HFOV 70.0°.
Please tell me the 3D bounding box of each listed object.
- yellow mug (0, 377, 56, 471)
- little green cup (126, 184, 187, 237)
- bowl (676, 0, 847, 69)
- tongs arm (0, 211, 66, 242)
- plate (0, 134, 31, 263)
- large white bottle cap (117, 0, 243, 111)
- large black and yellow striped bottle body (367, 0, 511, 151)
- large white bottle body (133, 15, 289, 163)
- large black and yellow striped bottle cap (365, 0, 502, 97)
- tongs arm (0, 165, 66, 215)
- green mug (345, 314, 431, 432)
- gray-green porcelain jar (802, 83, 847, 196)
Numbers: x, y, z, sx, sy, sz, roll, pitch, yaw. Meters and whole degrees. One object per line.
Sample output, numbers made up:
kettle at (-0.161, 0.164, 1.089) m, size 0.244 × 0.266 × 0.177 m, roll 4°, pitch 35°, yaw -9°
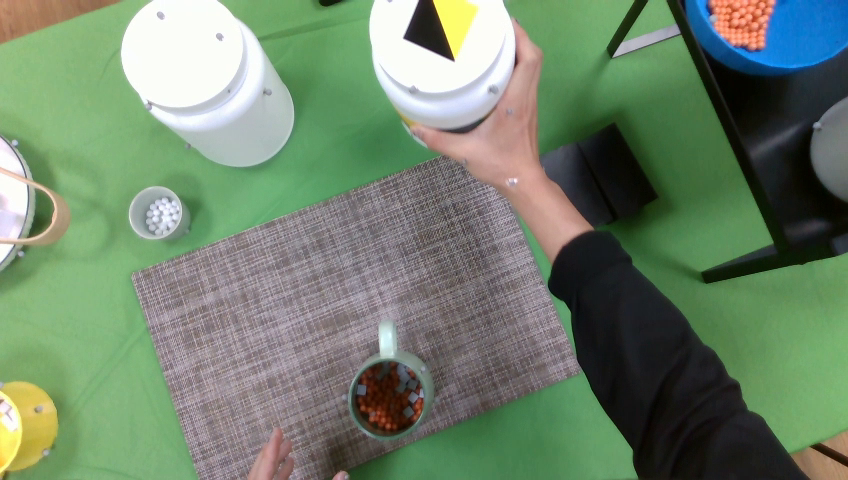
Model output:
yellow mug at (-0.478, 0.220, 0.665) m, size 0.100 × 0.064 × 0.130 m, roll 11°, pitch 83°, yaw 1°
little green cup at (-0.312, -0.032, 0.713) m, size 0.061 × 0.039 × 0.061 m, roll 0°, pitch 83°, yaw -1°
bowl at (0.288, -0.214, 0.539) m, size 0.151 × 0.077 × 0.151 m, roll 0°, pitch 82°, yaw -1°
tongs arm at (-0.600, -0.028, 0.679) m, size 0.385 × 0.026 × 0.050 m, roll 6°, pitch 79°, yaw 3°
plate at (-0.563, -0.043, 0.714) m, size 0.208 × 0.039 × 0.207 m, roll 0°, pitch 83°, yaw 0°
large white bottle cap at (-0.231, -0.179, 0.574) m, size 0.115 × 0.018 × 0.114 m, roll 0°, pitch 83°, yaw 0°
large black and yellow striped bottle body at (0.019, -0.169, 0.591) m, size 0.130 × 0.184 × 0.130 m, roll -1°, pitch 85°, yaw 7°
large white bottle body at (-0.231, -0.168, 0.657) m, size 0.130 × 0.185 × 0.130 m, roll 0°, pitch 82°, yaw 1°
large black and yellow striped bottle cap at (0.008, -0.178, 0.508) m, size 0.115 × 0.019 × 0.114 m, roll 0°, pitch 86°, yaw 5°
tongs arm at (-0.583, -0.108, 0.692) m, size 0.387 × 0.028 × 0.028 m, roll 20°, pitch 76°, yaw 4°
green mug at (-0.040, 0.142, 0.654) m, size 0.092 × 0.105 × 0.125 m, roll -5°, pitch 82°, yaw 0°
gray-green porcelain jar at (0.392, -0.094, 0.500) m, size 0.106 × 0.127 × 0.105 m, roll 0°, pitch 81°, yaw 0°
